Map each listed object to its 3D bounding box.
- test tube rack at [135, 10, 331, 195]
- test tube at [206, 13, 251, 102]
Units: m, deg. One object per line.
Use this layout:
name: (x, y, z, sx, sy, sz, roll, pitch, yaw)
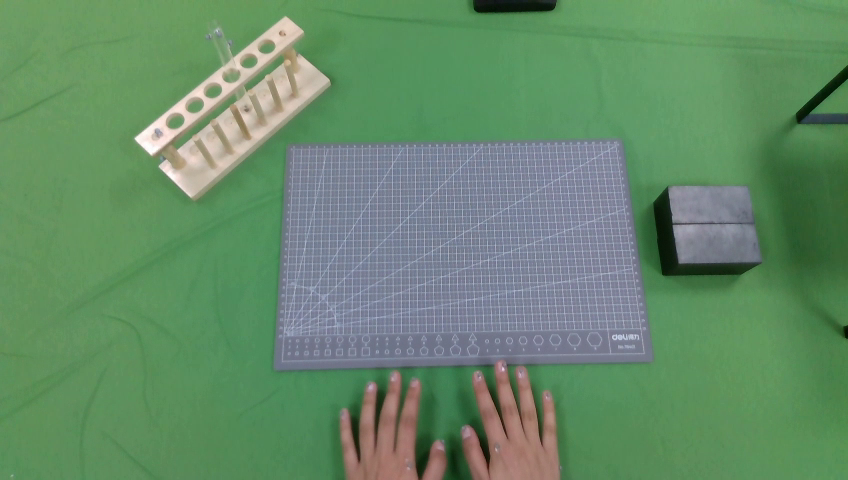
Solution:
test tube rack: (-0.235, -0.175, 0.774, 0.066, 0.085, 0.242, 42, 76, 13)
test tube: (-0.235, -0.216, 0.736, 0.017, 0.151, 0.017, 1, 67, -1)
